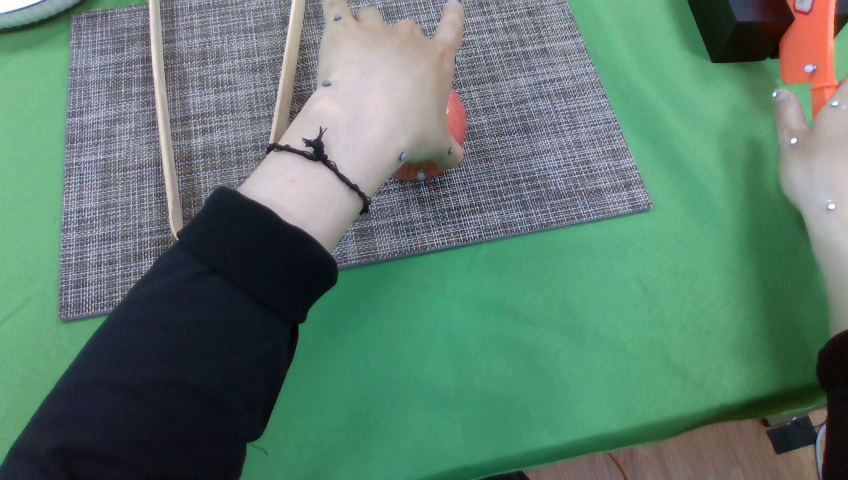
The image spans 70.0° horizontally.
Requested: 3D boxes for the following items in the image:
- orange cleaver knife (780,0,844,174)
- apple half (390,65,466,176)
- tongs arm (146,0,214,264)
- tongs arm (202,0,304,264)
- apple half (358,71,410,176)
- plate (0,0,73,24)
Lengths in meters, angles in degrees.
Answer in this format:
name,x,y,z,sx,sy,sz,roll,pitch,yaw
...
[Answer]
name,x,y,z,sx,sy,sz,roll,pitch,yaw
orange cleaver knife,0.316,-0.161,0.495,0.012,0.077,0.212,-7,98,-4
apple half,0.005,-0.090,0.463,0.053,0.075,0.080,-10,61,-9
tongs arm,-0.217,-0.152,0.513,0.028,0.028,0.384,-12,66,-11
tongs arm,-0.133,-0.161,0.517,0.051,0.027,0.381,0,65,-2
apple half,-0.033,-0.082,0.456,0.033,0.082,0.080,-10,65,-9
plate,-0.383,-0.275,0.566,0.209,0.038,0.207,1,64,-1
